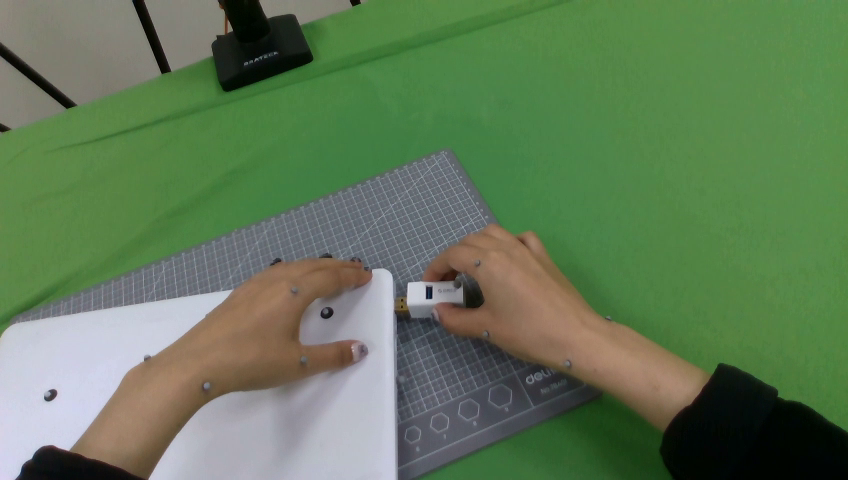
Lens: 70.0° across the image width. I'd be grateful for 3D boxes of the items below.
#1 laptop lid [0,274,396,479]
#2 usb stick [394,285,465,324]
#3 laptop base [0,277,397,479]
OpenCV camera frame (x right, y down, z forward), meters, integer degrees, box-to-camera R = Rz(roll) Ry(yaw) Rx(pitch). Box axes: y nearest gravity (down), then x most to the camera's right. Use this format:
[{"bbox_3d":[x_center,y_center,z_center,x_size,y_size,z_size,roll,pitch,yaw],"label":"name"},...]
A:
[{"bbox_3d":[-0.193,0.145,0.445,0.356,0.013,0.239,-8,52,7],"label":"laptop lid"},{"bbox_3d":[0.003,0.051,0.474,0.059,0.027,0.021,-6,57,10],"label":"usb stick"},{"bbox_3d":[-0.191,0.150,0.455,0.354,0.023,0.233,-9,53,6],"label":"laptop base"}]
